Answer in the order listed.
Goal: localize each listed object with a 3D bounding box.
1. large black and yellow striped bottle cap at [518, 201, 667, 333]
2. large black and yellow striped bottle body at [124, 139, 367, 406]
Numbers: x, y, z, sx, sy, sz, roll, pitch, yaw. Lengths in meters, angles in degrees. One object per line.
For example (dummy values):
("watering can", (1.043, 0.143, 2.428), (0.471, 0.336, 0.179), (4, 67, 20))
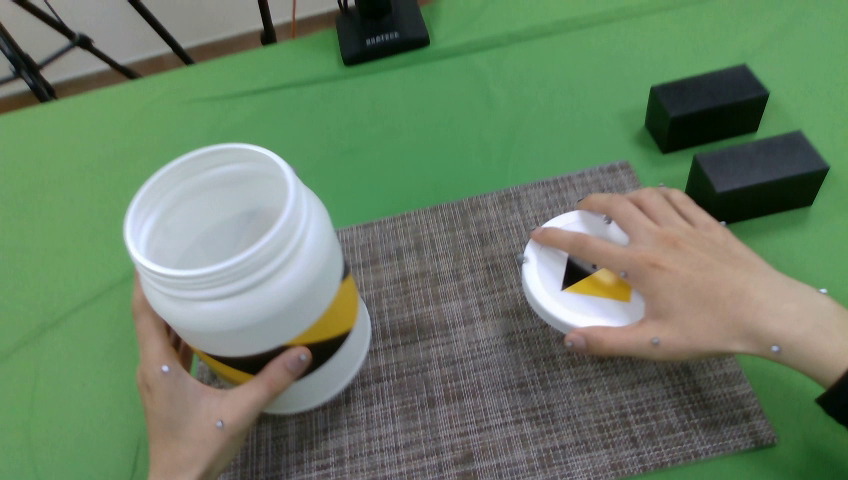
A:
("large black and yellow striped bottle cap", (0.133, 0.019, 0.480), (0.115, 0.019, 0.114), (-3, 57, 5))
("large black and yellow striped bottle body", (-0.122, 0.029, 0.447), (0.130, 0.186, 0.129), (-4, 53, 6))
